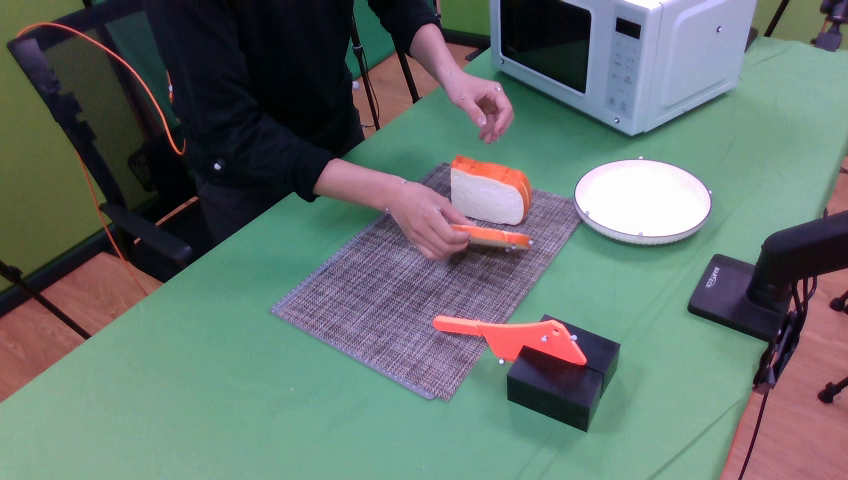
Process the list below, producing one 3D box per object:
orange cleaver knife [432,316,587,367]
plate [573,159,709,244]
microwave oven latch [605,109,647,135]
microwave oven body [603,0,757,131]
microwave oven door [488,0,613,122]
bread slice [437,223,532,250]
[{"bbox_3d":[0.101,0.127,0.761,0.210,0.077,0.012,-1,34,40],"label":"orange cleaver knife"},{"bbox_3d":[0.347,-0.059,0.979,0.207,0.039,0.206,-4,41,4],"label":"plate"},{"bbox_3d":[0.378,-0.225,1.139,0.030,0.029,0.078,-26,43,-19],"label":"microwave oven latch"},{"bbox_3d":[0.396,-0.448,1.248,0.327,0.261,0.437,-27,44,-21],"label":"microwave oven body"},{"bbox_3d":[0.250,-0.412,1.219,0.039,0.245,0.352,-27,44,-21],"label":"microwave oven door"},{"bbox_3d":[0.093,-0.005,0.904,0.134,0.107,0.018,9,88,18],"label":"bread slice"}]
